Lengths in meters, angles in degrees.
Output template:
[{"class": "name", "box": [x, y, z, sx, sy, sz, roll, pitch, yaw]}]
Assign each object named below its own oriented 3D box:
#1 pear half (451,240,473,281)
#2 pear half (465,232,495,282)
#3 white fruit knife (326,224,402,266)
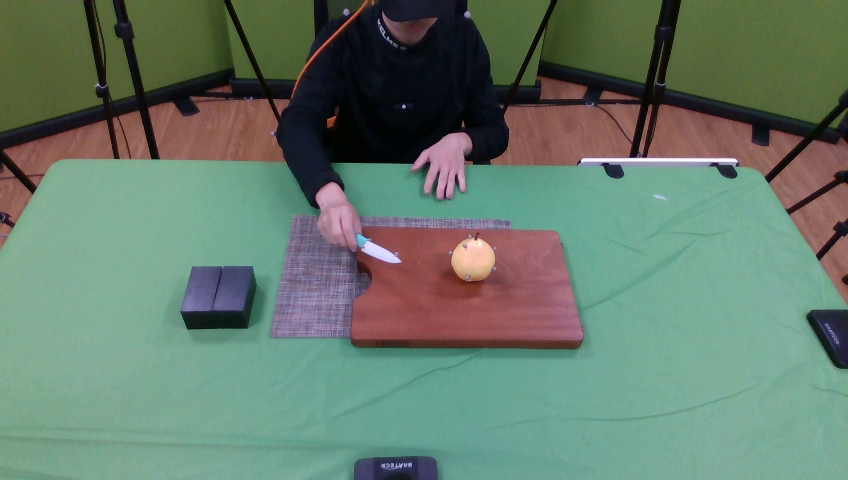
[{"class": "pear half", "box": [0.065, 0.036, 1.085, 0.031, 0.088, 0.070, -11, 51, -13]}, {"class": "pear half", "box": [0.100, 0.024, 1.085, 0.056, 0.110, 0.076, -11, 51, -15]}, {"class": "white fruit knife", "box": [-0.108, 0.007, 1.079, 0.206, 0.027, 0.016, 23, 14, 40]}]
